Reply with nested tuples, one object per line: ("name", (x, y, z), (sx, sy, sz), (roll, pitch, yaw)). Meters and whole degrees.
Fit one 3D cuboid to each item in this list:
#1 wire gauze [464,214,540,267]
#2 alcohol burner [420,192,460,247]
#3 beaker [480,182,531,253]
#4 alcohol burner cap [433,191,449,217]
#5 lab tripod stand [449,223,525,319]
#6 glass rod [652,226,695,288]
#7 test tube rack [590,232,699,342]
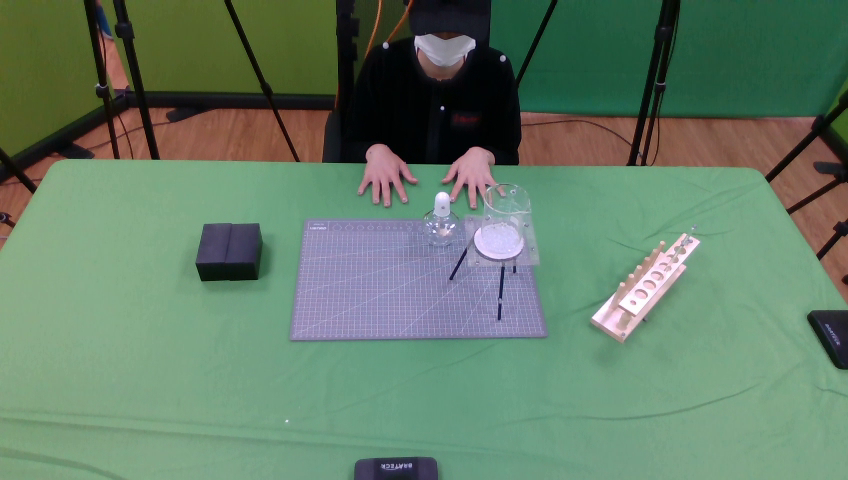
("wire gauze", (0.131, -0.001, 1.035), (0.121, 0.011, 0.124), (1, 44, -3))
("alcohol burner", (0.032, -0.045, 1.176), (0.078, 0.120, 0.077), (2, 44, -1))
("beaker", (0.133, -0.033, 0.998), (0.083, 0.101, 0.074), (26, 51, 22))
("alcohol burner cap", (0.033, -0.070, 1.150), (0.034, 0.048, 0.033), (0, 45, 0))
("lab tripod stand", (0.120, 0.046, 1.080), (0.148, 0.132, 0.147), (1, 47, -1))
("glass rod", (0.432, 0.037, 1.057), (0.008, 0.200, 0.008), (1, 54, -1))
("test tube rack", (0.407, 0.074, 1.112), (0.066, 0.085, 0.242), (35, 53, 26))
